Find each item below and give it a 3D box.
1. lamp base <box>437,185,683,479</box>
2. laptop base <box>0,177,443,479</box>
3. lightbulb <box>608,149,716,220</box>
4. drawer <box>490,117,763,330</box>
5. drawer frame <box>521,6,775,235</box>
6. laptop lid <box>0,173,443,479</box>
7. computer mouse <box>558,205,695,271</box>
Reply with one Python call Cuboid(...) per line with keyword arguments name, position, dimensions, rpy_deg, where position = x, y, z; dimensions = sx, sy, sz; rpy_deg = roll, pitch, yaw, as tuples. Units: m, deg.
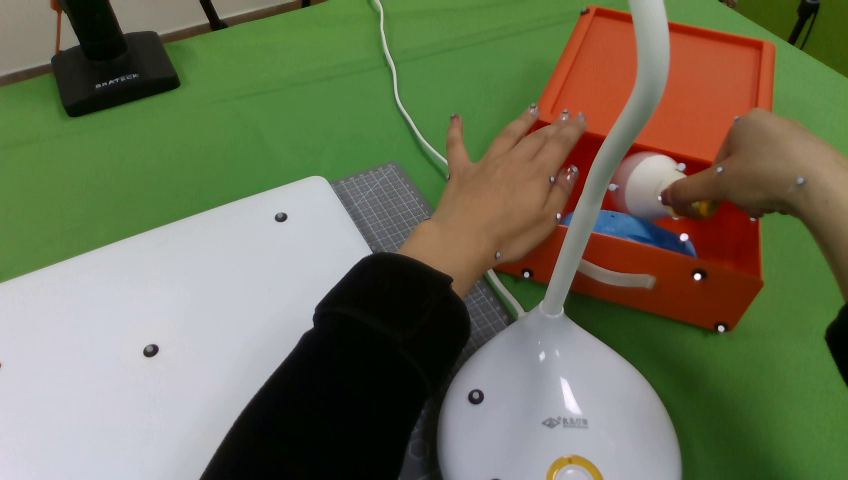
Cuboid(name="lamp base", position=(0.088, 0.071, 0.351), dimensions=(0.161, 0.182, 0.177), rpy_deg=(-8, 47, -9))
Cuboid(name="laptop base", position=(-0.192, 0.086, 0.445), dimensions=(0.355, 0.023, 0.233), rpy_deg=(-23, 57, -19))
Cuboid(name="lightbulb", position=(0.195, -0.041, 0.493), dimensions=(0.059, 0.060, 0.107), rpy_deg=(-16, 20, -13))
Cuboid(name="drawer", position=(0.179, -0.045, 0.524), dimensions=(0.194, 0.074, 0.210), rpy_deg=(15, 50, 14))
Cuboid(name="drawer frame", position=(0.219, -0.127, 0.588), dimensions=(0.201, 0.083, 0.212), rpy_deg=(16, 51, 14))
Cuboid(name="laptop lid", position=(-0.191, 0.080, 0.434), dimensions=(0.357, 0.013, 0.239), rpy_deg=(-21, 55, -17))
Cuboid(name="computer mouse", position=(0.164, 0.007, 0.493), dimensions=(0.117, 0.041, 0.062), rpy_deg=(14, 49, 5))
